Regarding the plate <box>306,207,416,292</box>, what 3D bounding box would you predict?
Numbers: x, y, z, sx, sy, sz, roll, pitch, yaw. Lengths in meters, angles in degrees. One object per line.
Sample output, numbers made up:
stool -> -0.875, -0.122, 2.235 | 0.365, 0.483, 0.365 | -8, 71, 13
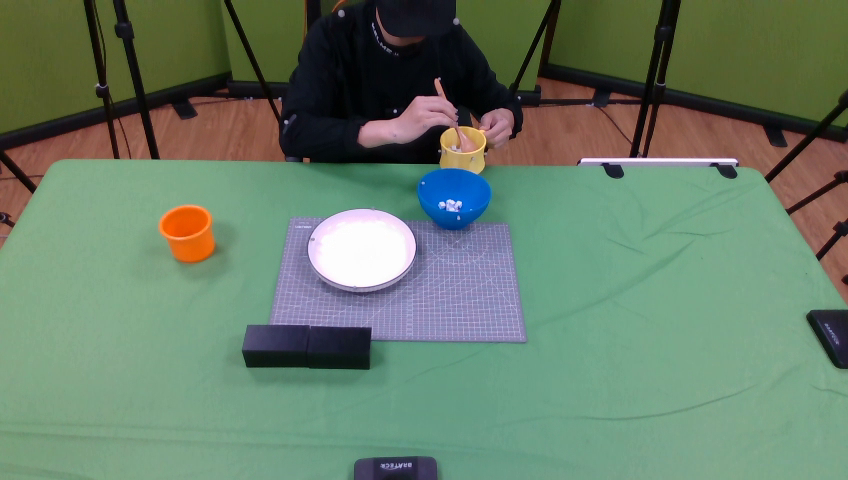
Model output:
plate -> -0.119, 0.021, 1.153 | 0.209, 0.038, 0.208 | 2, 46, -2

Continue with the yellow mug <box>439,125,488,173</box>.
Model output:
yellow mug -> 0.094, -0.201, 1.316 | 0.131, 0.064, 0.099 | -35, 55, -30

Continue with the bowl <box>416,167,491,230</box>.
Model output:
bowl -> 0.057, -0.074, 1.231 | 0.151, 0.077, 0.150 | 3, 42, -2

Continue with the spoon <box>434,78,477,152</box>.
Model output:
spoon -> 0.063, -0.248, 1.272 | 0.041, 0.021, 0.194 | -32, 99, -22
